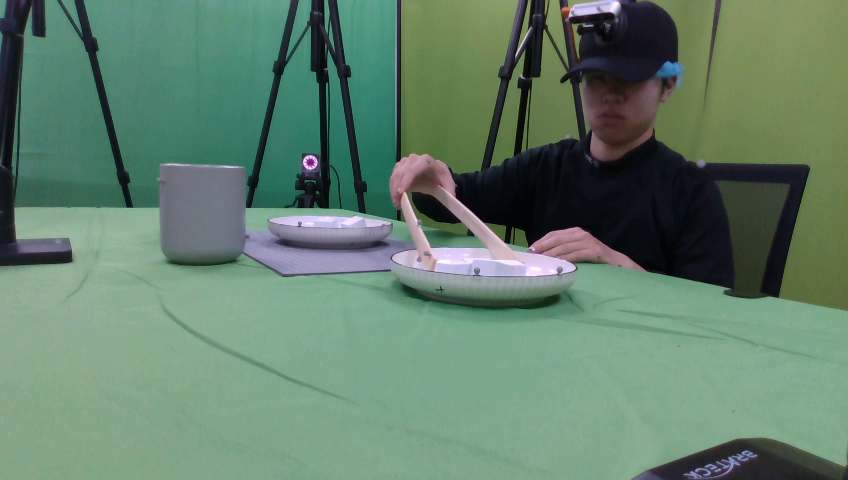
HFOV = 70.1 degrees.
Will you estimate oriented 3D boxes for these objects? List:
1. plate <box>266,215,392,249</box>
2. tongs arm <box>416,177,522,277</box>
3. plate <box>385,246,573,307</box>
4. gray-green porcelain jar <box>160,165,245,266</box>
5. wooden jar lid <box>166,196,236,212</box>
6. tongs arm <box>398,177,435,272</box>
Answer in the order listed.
[{"bbox_3d":[-0.159,-0.015,1.019,0.209,0.038,0.209,3,7,0],"label":"plate"},{"bbox_3d":[0.053,-0.027,0.844,0.028,0.028,0.386,-3,21,-16],"label":"tongs arm"},{"bbox_3d":[0.060,0.041,0.678,0.208,0.039,0.207,3,7,0],"label":"plate"},{"bbox_3d":[-0.291,-0.034,0.799,0.106,0.126,0.106,2,8,0],"label":"gray-green porcelain jar"},{"bbox_3d":[-0.369,-0.060,1.001,0.108,0.020,0.108,3,6,0],"label":"wooden jar lid"},{"bbox_3d":[-0.003,-0.031,0.831,0.051,0.026,0.383,2,19,-11],"label":"tongs arm"}]
